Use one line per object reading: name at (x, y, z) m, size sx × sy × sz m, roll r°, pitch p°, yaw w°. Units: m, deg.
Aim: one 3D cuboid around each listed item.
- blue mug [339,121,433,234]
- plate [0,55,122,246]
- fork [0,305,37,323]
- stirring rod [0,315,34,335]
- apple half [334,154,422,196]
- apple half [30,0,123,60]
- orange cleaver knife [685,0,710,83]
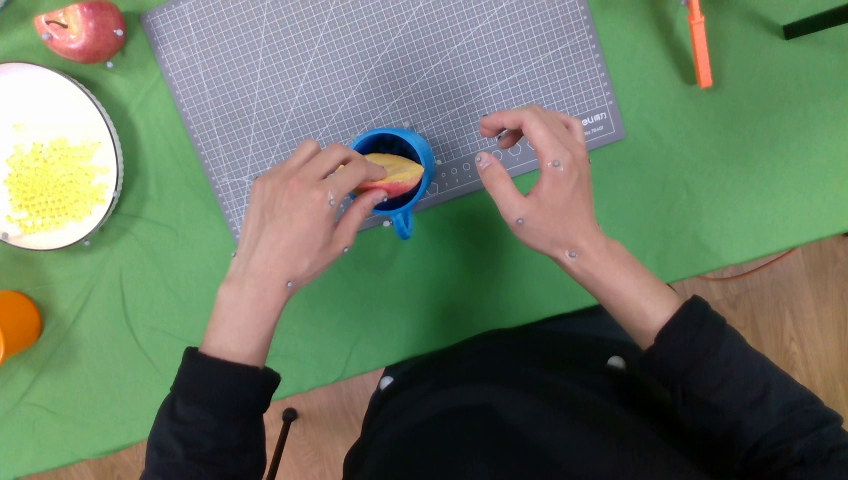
blue mug at (-0.032, -0.063, 0.621) m, size 0.082 × 0.105 × 0.117 m, roll -10°, pitch 101°, yaw 7°
plate at (-0.436, -0.098, 0.680) m, size 0.209 × 0.038 × 0.210 m, roll 1°, pitch 103°, yaw 4°
fork at (-0.555, 0.104, 0.676) m, size 0.208 × 0.018 × 0.028 m, roll -11°, pitch 104°, yaw -38°
stirring rod at (-0.540, 0.119, 0.681) m, size 0.176 × 0.006 × 0.014 m, roll -19°, pitch 91°, yaw -33°
apple half at (-0.042, -0.057, 0.565) m, size 0.081 × 0.081 × 0.033 m, roll 8°, pitch 110°, yaw 3°
apple half at (-0.353, -0.216, 0.630) m, size 0.081 × 0.074 × 0.053 m, roll -15°, pitch 104°, yaw 4°
orange cleaver knife at (0.247, -0.252, 0.572) m, size 0.012 × 0.076 × 0.213 m, roll -15°, pitch 127°, yaw 16°
